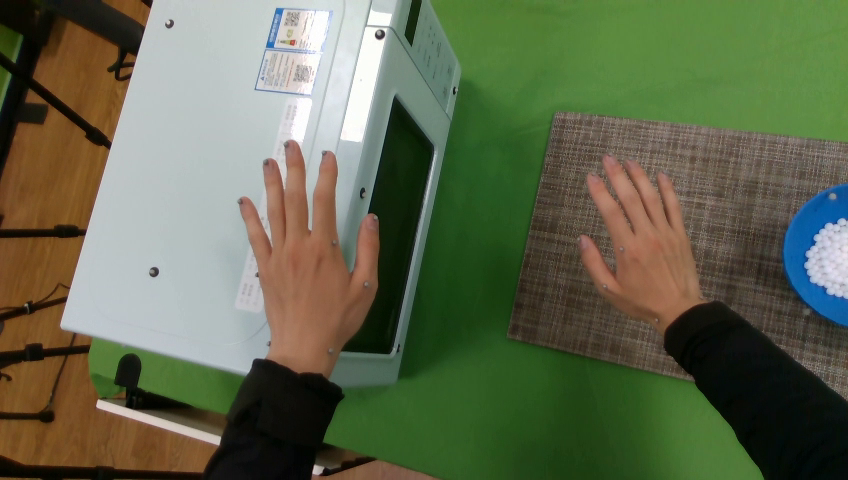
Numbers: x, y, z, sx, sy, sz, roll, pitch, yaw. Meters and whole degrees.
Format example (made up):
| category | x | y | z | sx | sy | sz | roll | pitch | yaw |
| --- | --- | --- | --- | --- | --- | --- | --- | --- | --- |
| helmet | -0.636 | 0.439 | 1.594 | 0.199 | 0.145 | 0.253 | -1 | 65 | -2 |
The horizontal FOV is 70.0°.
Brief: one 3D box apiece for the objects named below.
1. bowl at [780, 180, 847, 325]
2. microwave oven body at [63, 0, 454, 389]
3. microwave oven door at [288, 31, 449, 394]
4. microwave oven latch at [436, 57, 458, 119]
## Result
| category | x | y | z | sx | sy | sz | roll | pitch | yaw |
| --- | --- | --- | --- | --- | --- | --- | --- | --- | --- |
| bowl | 0.445 | 0.019 | 0.627 | 0.151 | 0.077 | 0.150 | -3 | 79 | 16 |
| microwave oven body | -0.176 | -0.071 | 0.734 | 0.324 | 0.262 | 0.440 | 9 | 82 | 18 |
| microwave oven door | -0.049 | -0.011 | 0.679 | 0.039 | 0.245 | 0.354 | 8 | 82 | 19 |
| microwave oven latch | 0.026 | -0.203 | 0.802 | 0.030 | 0.030 | 0.079 | 9 | 83 | 18 |
